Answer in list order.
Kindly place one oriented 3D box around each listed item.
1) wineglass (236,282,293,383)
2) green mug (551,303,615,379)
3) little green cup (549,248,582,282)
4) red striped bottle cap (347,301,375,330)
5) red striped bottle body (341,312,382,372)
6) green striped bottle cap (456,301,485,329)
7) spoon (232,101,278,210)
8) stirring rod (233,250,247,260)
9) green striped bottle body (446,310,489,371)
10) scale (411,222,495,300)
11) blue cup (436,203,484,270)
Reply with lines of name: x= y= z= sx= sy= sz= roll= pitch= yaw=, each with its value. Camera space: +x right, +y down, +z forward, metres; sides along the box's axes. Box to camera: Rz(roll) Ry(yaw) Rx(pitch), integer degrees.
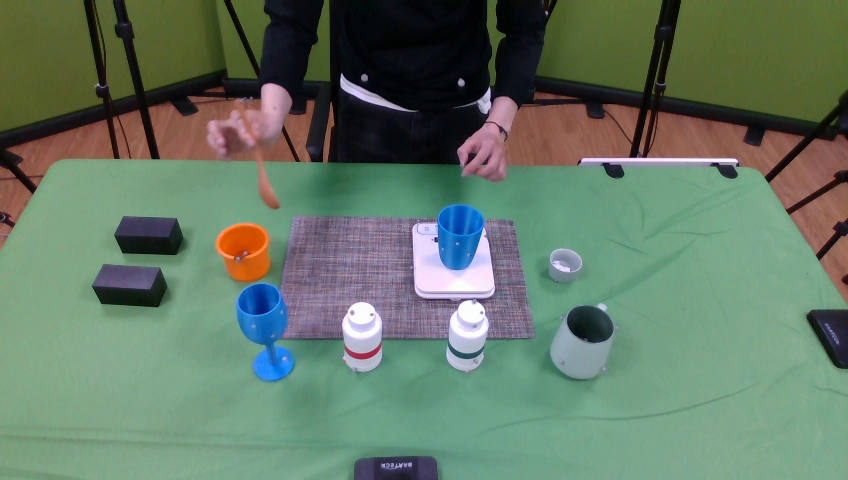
wineglass: x=-0.243 y=0.143 z=0.934 sx=0.074 sy=0.173 sz=0.073 roll=2 pitch=46 yaw=-2
green mug: x=0.271 y=0.157 z=1.007 sx=0.092 sy=0.105 sz=0.125 roll=27 pitch=50 yaw=21
little green cup: x=0.267 y=0.050 z=1.156 sx=0.061 sy=0.039 sz=0.061 roll=2 pitch=46 yaw=-1
red striped bottle cap: x=-0.097 y=0.116 z=0.934 sx=0.044 sy=0.018 sz=0.044 roll=2 pitch=49 yaw=-2
red striped bottle body: x=-0.100 y=0.154 z=0.972 sx=0.063 sy=0.120 sz=0.062 roll=2 pitch=46 yaw=-1
green striped bottle cap: x=0.073 y=0.116 z=0.943 sx=0.044 sy=0.020 sz=0.044 roll=3 pitch=46 yaw=-3
spoon: x=-0.286 y=-0.139 z=1.020 sx=0.041 sy=0.194 sz=0.021 roll=6 pitch=26 yaw=42
stirring rod: x=-0.323 y=0.026 z=1.067 sx=0.014 sy=0.006 sz=0.176 roll=-8 pitch=4 yaw=-13
green striped bottle body: x=0.070 y=0.155 z=0.984 sx=0.063 sy=0.120 sz=0.063 roll=2 pitch=46 yaw=-2
scale: x=0.052 y=0.031 z=1.158 sx=0.149 sy=0.032 sz=0.199 roll=1 pitch=46 yaw=-4
blue cup: x=0.061 y=-0.001 z=1.099 sx=0.093 sy=0.101 sz=0.092 roll=2 pitch=44 yaw=-2
